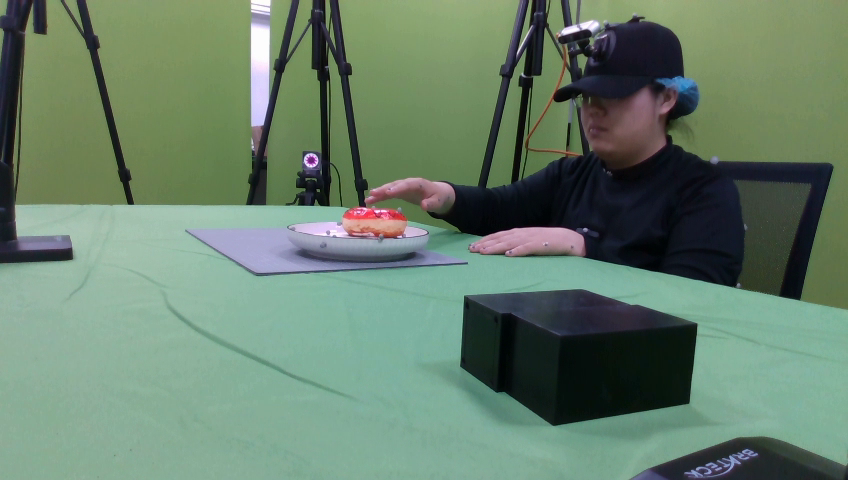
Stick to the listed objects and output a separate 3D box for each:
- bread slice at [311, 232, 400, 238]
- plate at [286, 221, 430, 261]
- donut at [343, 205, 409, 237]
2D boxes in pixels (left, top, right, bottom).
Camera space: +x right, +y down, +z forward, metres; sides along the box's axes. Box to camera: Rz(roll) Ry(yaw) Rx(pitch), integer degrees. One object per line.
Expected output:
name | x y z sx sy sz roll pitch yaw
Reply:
bread slice | -0.101 0.002 0.885 0.135 0.018 0.106 -3 8 -38
plate | -0.096 0.001 0.886 0.209 0.038 0.209 2 7 0
donut | -0.071 -0.027 0.894 0.099 0.048 0.099 4 3 0
